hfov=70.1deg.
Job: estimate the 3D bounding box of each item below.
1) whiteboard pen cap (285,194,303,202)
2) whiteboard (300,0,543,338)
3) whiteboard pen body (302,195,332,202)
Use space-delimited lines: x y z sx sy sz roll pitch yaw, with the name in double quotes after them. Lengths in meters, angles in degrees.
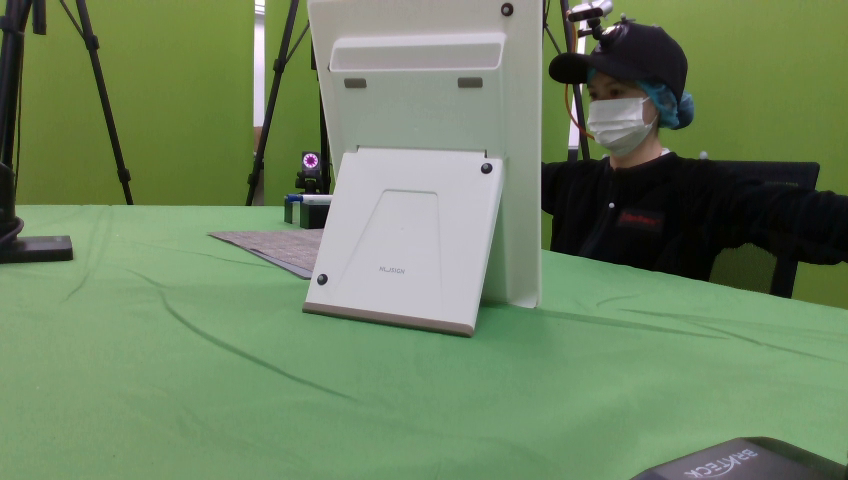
-0.261 -0.084 1.218 0.033 0.018 0.018 -4 10 -37 "whiteboard pen cap"
-0.020 -0.050 0.523 0.216 0.305 0.144 6 27 22 "whiteboard"
-0.211 -0.086 1.253 0.141 0.017 0.017 -2 9 -36 "whiteboard pen body"
